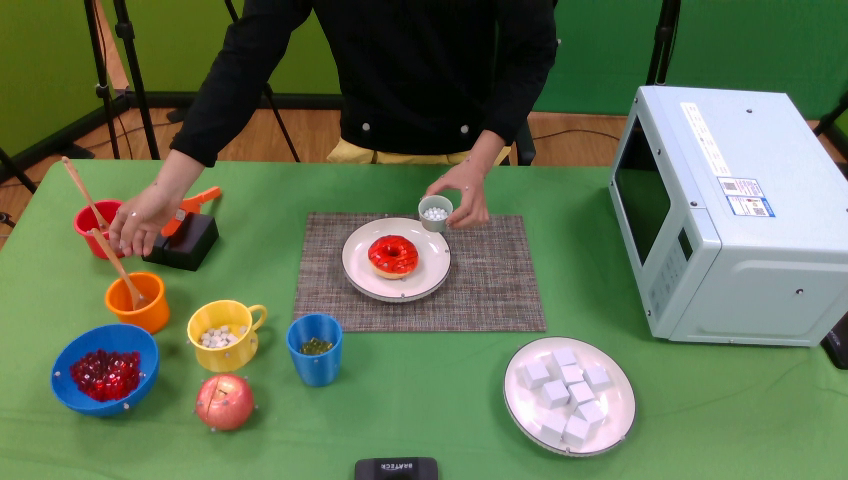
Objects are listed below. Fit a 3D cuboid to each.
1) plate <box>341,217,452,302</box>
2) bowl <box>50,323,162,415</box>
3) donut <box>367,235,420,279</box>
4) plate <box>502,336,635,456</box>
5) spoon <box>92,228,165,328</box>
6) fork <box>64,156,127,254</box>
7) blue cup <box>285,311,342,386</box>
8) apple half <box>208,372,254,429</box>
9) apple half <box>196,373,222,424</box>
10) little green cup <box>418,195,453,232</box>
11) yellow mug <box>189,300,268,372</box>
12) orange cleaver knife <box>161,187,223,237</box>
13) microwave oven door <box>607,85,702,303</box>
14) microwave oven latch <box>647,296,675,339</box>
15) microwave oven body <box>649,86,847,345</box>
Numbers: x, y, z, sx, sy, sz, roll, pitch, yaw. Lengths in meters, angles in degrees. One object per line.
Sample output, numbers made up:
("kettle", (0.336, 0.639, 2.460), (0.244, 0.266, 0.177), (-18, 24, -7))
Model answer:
("plate", (-0.052, 0.039, 1.140), (0.209, 0.038, 0.208), (2, 46, -2))
("bowl", (-0.472, 0.209, 0.924), (0.151, 0.077, 0.150), (3, 45, -2))
("donut", (-0.056, 0.032, 1.132), (0.099, 0.048, 0.098), (3, 45, -3))
("plate", (0.225, 0.248, 0.963), (0.208, 0.039, 0.206), (2, 46, -2))
("spoon", (-0.496, 0.063, 1.014), (0.041, 0.194, 0.021), (-33, 13, -30))
("fork", (-0.614, -0.064, 1.129), (0.028, 0.018, 0.207), (-30, 97, -15))
("blue cup", (-0.170, 0.180, 0.958), (0.093, 0.101, 0.092), (1, 44, -1))
("apple half", (-0.283, 0.244, 0.908), (0.053, 0.075, 0.080), (7, 42, -1))
("apple half", (-0.322, 0.239, 0.906), (0.033, 0.081, 0.081), (7, 46, 0))
("little green cup", (0.021, -0.046, 1.076), (0.061, 0.039, 0.061), (-1, 57, 2))
("yellow mug", (-0.315, 0.149, 1.001), (0.131, 0.064, 0.099), (-32, 55, -31))
("orange cleaver knife", (-0.448, -0.058, 1.180), (0.012, 0.077, 0.211), (13, 17, 6))
("microwave oven door", (0.423, -0.094, 1.140), (0.039, 0.245, 0.353), (2, 46, -1))
("microwave oven latch", (0.413, 0.134, 1.061), (0.030, 0.029, 0.078), (5, 45, 2))
("microwave oven body", (0.568, -0.053, 1.118), (0.326, 0.261, 0.439), (2, 45, -1))
